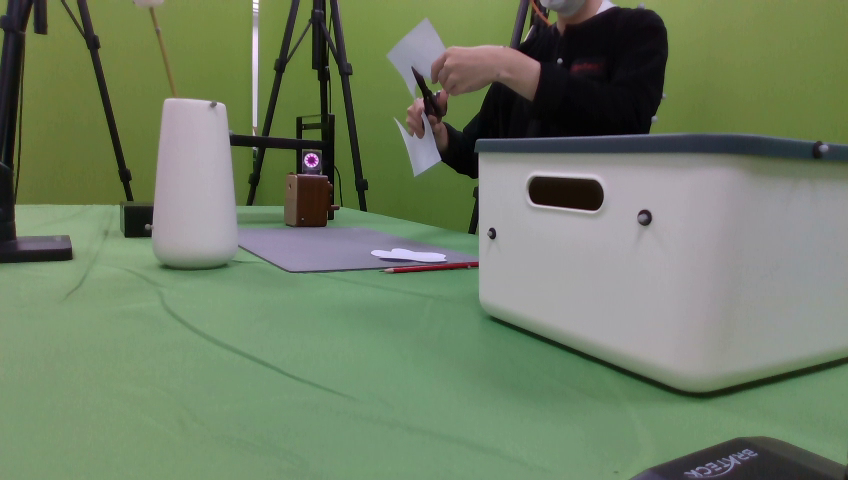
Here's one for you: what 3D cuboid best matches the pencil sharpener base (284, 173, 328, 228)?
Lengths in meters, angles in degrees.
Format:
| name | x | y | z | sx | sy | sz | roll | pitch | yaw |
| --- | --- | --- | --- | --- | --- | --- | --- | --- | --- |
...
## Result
| name | x | y | z | sx | sy | sz | roll | pitch | yaw |
| --- | --- | --- | --- | --- | --- | --- | --- | --- | --- |
| pencil sharpener base | -0.239 | -0.081 | 1.231 | 0.077 | 0.107 | 0.061 | -2 | 8 | -36 |

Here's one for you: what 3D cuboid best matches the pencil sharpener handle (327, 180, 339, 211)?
| name | x | y | z | sx | sy | sz | roll | pitch | yaw |
| --- | --- | --- | --- | --- | --- | --- | --- | --- | --- |
| pencil sharpener handle | -0.194 | -0.095 | 1.256 | 0.031 | 0.067 | 0.036 | -2 | -5 | -36 |

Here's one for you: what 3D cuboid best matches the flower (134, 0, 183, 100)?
| name | x | y | z | sx | sy | sz | roll | pitch | yaw |
| --- | --- | --- | --- | --- | --- | --- | --- | --- | --- |
| flower | -0.282 | -0.147 | 0.713 | 0.038 | 0.362 | 0.044 | -23 | 24 | -31 |

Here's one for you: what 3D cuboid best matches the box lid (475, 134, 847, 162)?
| name | x | y | z | sx | sy | sz | roll | pitch | yaw |
| --- | --- | --- | --- | --- | --- | --- | --- | --- | --- |
| box lid | 0.256 | -0.073 | 0.528 | 0.373 | 0.015 | 0.262 | -2 | 8 | -31 |

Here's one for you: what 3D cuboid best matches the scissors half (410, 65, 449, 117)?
| name | x | y | z | sx | sy | sz | roll | pitch | yaw |
| --- | --- | --- | --- | --- | --- | --- | --- | --- | --- |
| scissors half | 0.010 | -0.270 | 1.088 | 0.013 | 0.040 | 0.176 | 17 | -5 | 25 |

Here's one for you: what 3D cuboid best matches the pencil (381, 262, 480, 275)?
| name | x | y | z | sx | sy | sz | roll | pitch | yaw |
| --- | --- | --- | --- | --- | --- | --- | --- | --- | --- |
| pencil | 0.030 | 0.036 | 0.794 | 0.195 | 0.012 | 0.012 | -3 | 9 | -30 |

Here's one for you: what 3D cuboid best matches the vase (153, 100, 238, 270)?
| name | x | y | z | sx | sy | sz | roll | pitch | yaw |
| --- | --- | --- | --- | --- | --- | --- | --- | --- | --- |
| vase | -0.278 | -0.066 | 0.736 | 0.098 | 0.200 | 0.098 | 2 | 9 | 0 |

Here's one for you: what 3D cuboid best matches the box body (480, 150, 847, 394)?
| name | x | y | z | sx | sy | sz | roll | pitch | yaw |
| --- | --- | --- | --- | --- | --- | --- | --- | --- | --- |
| box body | 0.254 | 0.002 | 0.539 | 0.366 | 0.160 | 0.253 | -2 | 9 | -31 |

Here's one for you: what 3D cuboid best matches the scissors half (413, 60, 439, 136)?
| name | x | y | z | sx | sy | sz | roll | pitch | yaw |
| --- | --- | --- | --- | --- | --- | --- | --- | --- | --- |
| scissors half | 0.000 | -0.251 | 1.082 | 0.012 | 0.040 | 0.175 | 22 | -29 | 27 |
